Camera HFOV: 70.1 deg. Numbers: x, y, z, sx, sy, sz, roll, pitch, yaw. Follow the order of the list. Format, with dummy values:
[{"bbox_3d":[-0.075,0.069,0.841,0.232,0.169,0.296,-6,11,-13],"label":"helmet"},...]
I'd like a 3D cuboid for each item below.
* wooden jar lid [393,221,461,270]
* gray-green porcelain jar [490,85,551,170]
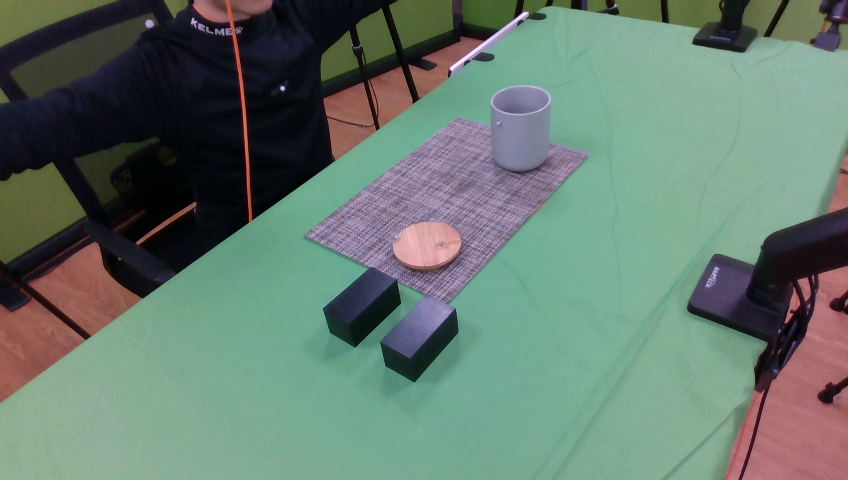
[{"bbox_3d":[0.005,0.010,0.952,0.108,0.021,0.108,-4,40,4],"label":"wooden jar lid"},{"bbox_3d":[0.173,-0.198,1.087,0.106,0.127,0.105,-4,41,4],"label":"gray-green porcelain jar"}]
